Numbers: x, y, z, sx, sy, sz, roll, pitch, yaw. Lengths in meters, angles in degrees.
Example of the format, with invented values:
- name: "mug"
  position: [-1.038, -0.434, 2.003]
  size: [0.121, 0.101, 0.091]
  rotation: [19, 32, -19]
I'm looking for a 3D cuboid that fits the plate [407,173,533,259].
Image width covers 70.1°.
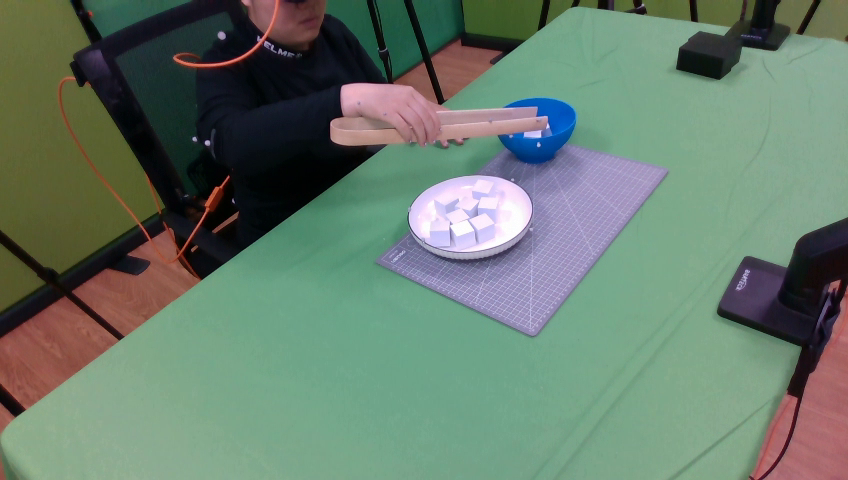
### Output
- name: "plate"
  position: [0.076, -0.037, 0.997]
  size: [0.207, 0.039, 0.206]
  rotation: [-5, 40, 5]

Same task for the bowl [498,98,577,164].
- name: "bowl"
  position: [0.207, -0.196, 1.128]
  size: [0.151, 0.077, 0.150]
  rotation: [-5, 40, 5]

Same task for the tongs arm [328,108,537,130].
- name: "tongs arm"
  position: [0.024, -0.204, 1.035]
  size: [0.390, 0.028, 0.028]
  rotation: [-8, 39, -20]

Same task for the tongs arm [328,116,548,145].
- name: "tongs arm"
  position: [0.033, -0.189, 1.013]
  size: [0.387, 0.026, 0.050]
  rotation: [-10, 36, -23]
